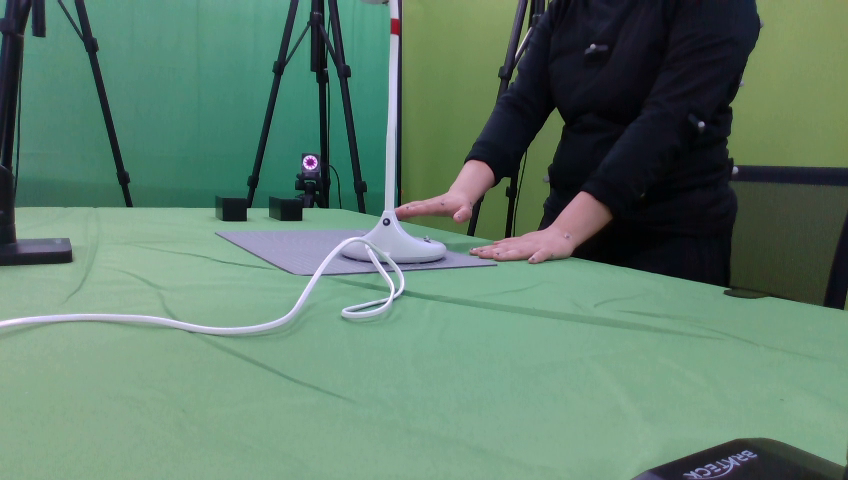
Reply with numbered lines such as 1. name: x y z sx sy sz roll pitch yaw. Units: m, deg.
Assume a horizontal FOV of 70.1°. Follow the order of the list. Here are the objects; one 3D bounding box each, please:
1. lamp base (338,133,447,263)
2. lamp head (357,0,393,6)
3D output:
1. lamp base: -0.043 -0.062 0.868 0.161 0.180 0.179 2 10 -3
2. lamp head: -0.056 -0.383 0.819 0.113 0.112 0.122 0 13 -21
